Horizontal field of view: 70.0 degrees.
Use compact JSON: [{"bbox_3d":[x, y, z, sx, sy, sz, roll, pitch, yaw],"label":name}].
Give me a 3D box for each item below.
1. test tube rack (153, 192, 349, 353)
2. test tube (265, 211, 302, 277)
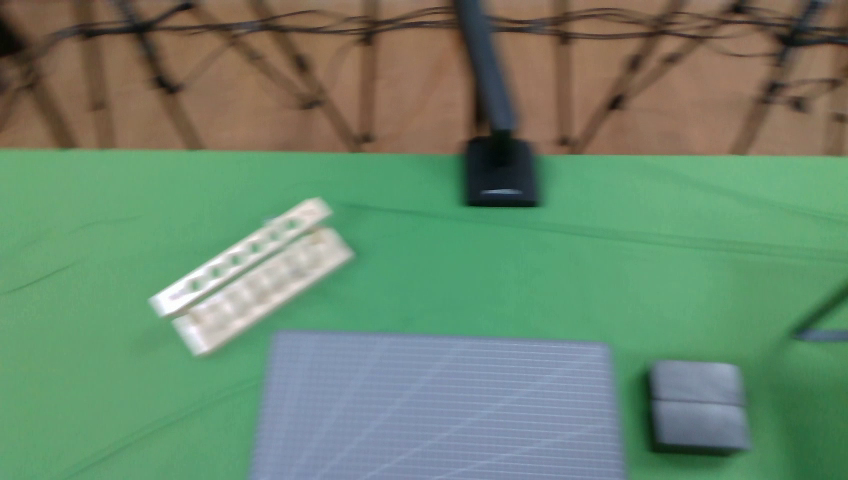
[{"bbox_3d":[-0.224,0.043,0.815,0.242,0.086,0.066,-35,65,-17],"label":"test tube rack"},{"bbox_3d":[-0.180,0.008,0.782,0.017,0.151,0.017,-1,59,2],"label":"test tube"}]
